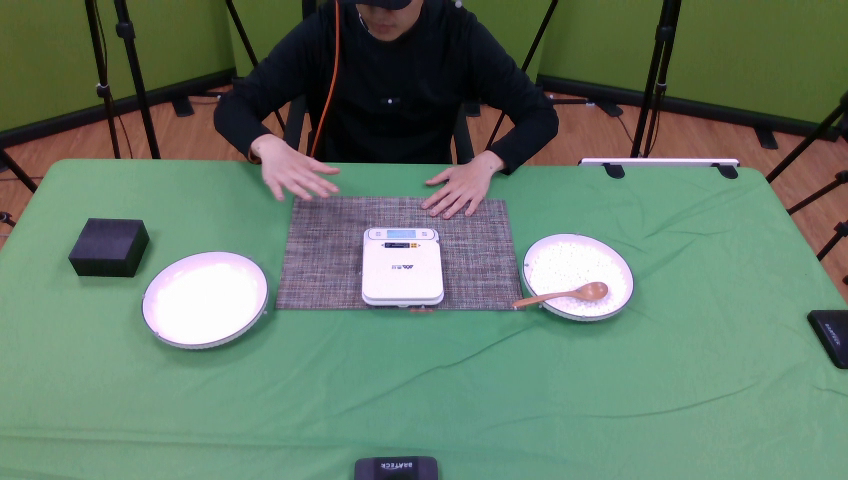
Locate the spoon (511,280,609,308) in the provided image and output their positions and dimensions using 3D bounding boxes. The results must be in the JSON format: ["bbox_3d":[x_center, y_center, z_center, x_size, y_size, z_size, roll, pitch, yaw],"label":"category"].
[{"bbox_3d":[0.245,0.098,1.088,0.194,0.022,0.041,-5,47,-19],"label":"spoon"}]

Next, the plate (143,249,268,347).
[{"bbox_3d":[-0.378,0.103,1.060,0.208,0.039,0.206,2,47,-2],"label":"plate"}]

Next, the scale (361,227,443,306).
[{"bbox_3d":[-0.042,0.040,1.143,0.149,0.032,0.199,1,46,-4],"label":"scale"}]

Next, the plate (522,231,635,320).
[{"bbox_3d":[0.287,0.069,1.141,0.209,0.038,0.208,2,46,-2],"label":"plate"}]
